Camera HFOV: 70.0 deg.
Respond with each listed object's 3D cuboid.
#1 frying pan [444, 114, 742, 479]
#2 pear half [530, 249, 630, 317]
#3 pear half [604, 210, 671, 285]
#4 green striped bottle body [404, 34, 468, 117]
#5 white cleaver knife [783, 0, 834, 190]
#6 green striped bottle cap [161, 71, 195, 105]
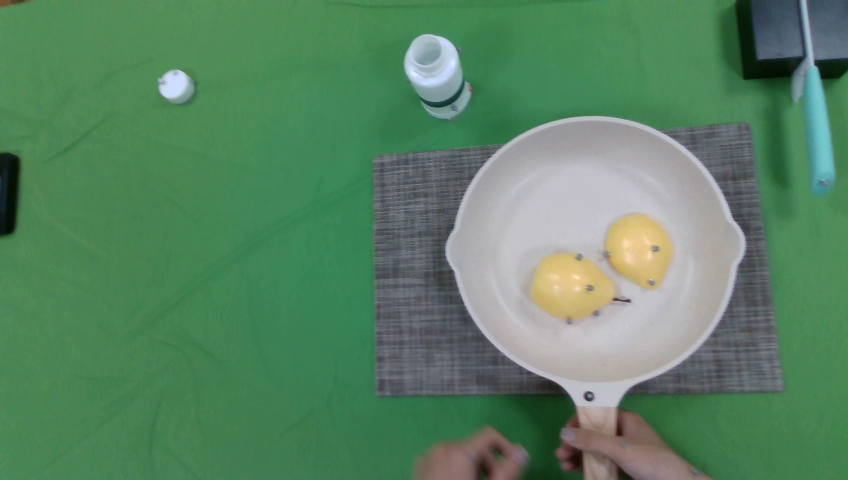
[{"bbox_3d":[0.174,0.107,0.639,0.306,0.103,0.485,-1,72,12],"label":"frying pan"},{"bbox_3d":[0.175,0.050,0.673,0.109,0.056,0.076,10,88,11],"label":"pear half"},{"bbox_3d":[0.241,0.006,0.679,0.070,0.031,0.087,-19,74,13],"label":"pear half"},{"bbox_3d":[0.014,-0.198,0.720,0.063,0.120,0.063,-2,79,11],"label":"green striped bottle body"},{"bbox_3d":[0.417,-0.193,0.664,0.021,0.066,0.285,-1,78,16],"label":"white cleaver knife"},{"bbox_3d":[-0.344,-0.213,0.847,0.044,0.020,0.044,-2,79,12],"label":"green striped bottle cap"}]
